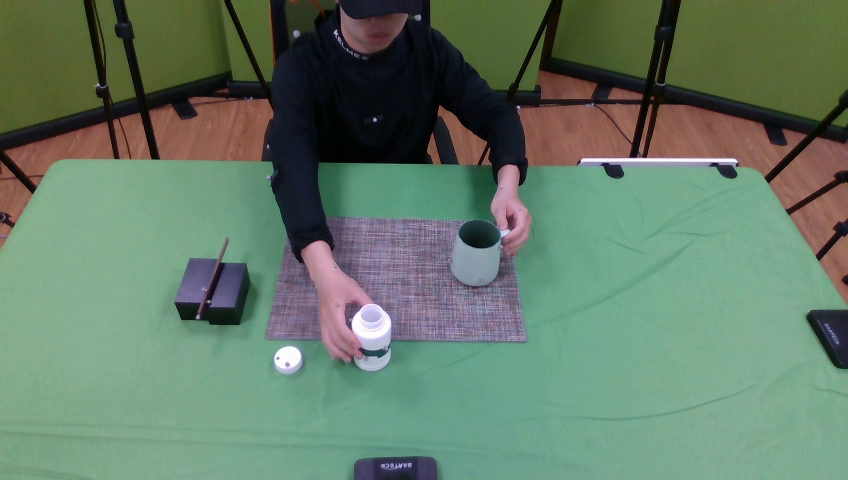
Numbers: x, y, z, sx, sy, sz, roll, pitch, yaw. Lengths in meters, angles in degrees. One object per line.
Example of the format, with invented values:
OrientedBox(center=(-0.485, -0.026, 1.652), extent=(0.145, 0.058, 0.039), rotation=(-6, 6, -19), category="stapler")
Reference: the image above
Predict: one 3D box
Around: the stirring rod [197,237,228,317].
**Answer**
OrientedBox(center=(-0.363, 0.060, 1.047), extent=(0.006, 0.014, 0.175), rotation=(7, 46, -3), category="stirring rod")

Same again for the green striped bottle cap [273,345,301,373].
OrientedBox(center=(-0.225, 0.195, 0.997), extent=(0.044, 0.020, 0.044), rotation=(1, 50, -1), category="green striped bottle cap")

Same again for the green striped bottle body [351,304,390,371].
OrientedBox(center=(-0.086, 0.154, 0.976), extent=(0.063, 0.120, 0.063), rotation=(3, 46, -2), category="green striped bottle body")

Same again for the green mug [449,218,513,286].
OrientedBox(center=(0.110, 0.018, 1.126), extent=(0.125, 0.105, 0.092), rotation=(-19, 50, -21), category="green mug")
